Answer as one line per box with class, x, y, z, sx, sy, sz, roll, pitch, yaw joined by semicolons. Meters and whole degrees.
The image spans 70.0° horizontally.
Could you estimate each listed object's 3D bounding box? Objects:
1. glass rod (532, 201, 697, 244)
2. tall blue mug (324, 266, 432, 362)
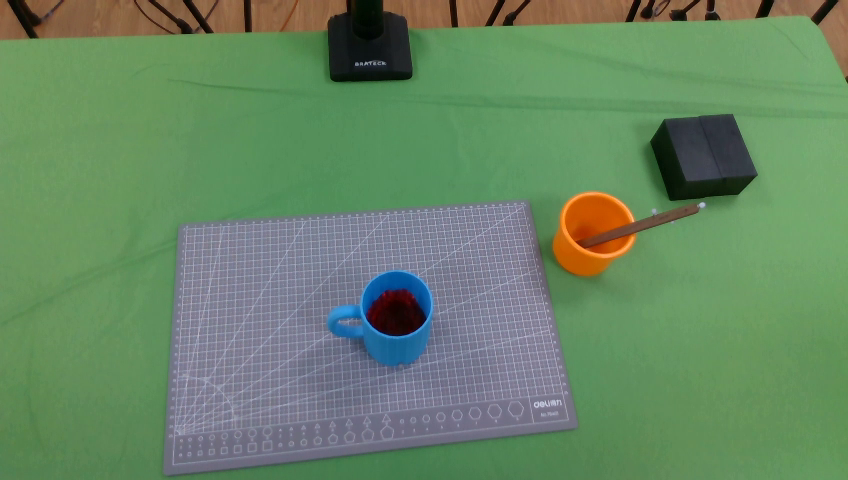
glass rod;0.222;-0.019;0.726;0.199;0.008;0.008;-15;58;32
tall blue mug;-0.047;0.090;0.664;0.107;0.108;0.077;-27;69;-16
